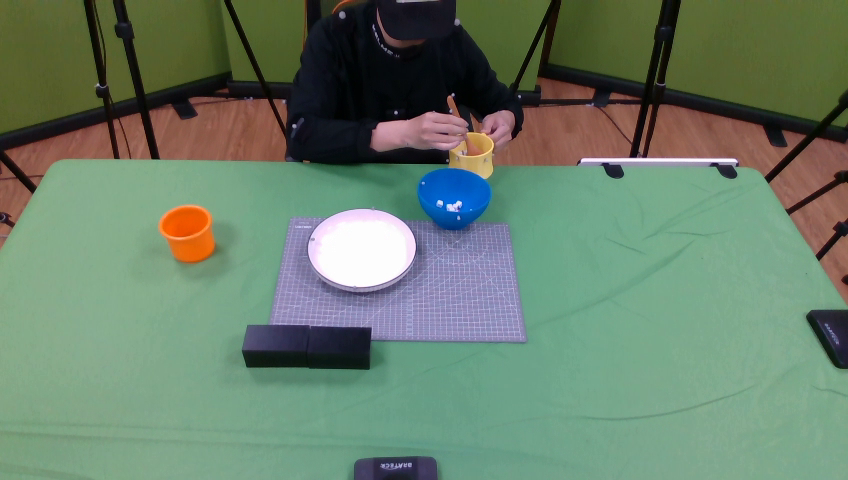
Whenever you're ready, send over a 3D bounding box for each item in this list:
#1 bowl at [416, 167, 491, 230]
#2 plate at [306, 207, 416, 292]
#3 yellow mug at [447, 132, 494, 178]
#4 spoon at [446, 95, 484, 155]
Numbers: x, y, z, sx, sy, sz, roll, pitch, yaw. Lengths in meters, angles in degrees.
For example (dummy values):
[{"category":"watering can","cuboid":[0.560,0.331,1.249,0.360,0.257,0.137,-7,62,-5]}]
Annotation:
[{"category":"bowl","cuboid":[0.057,-0.074,1.231,0.151,0.077,0.150,2,42,-2]},{"category":"plate","cuboid":[-0.119,0.021,1.153,0.209,0.038,0.208,2,46,-2]},{"category":"yellow mug","cuboid":[0.107,-0.190,1.316,0.099,0.064,0.130,18,44,23]},{"category":"spoon","cuboid":[0.084,-0.220,1.251,0.041,0.195,0.021,-28,38,5]}]
